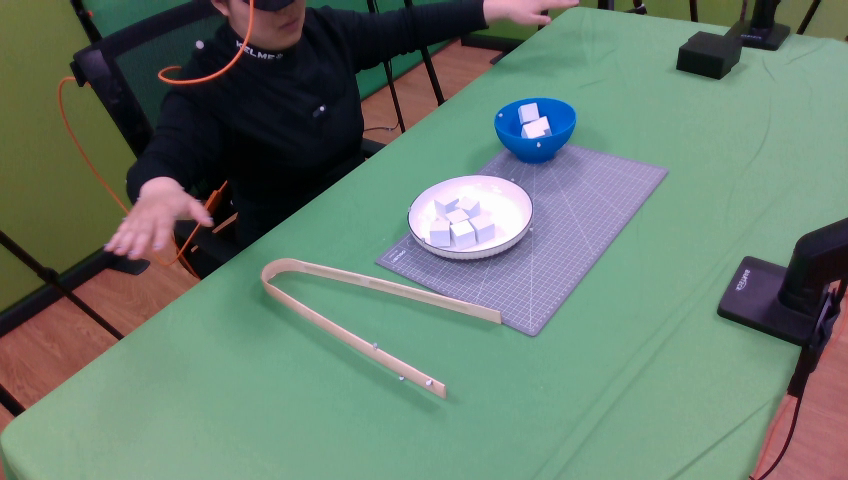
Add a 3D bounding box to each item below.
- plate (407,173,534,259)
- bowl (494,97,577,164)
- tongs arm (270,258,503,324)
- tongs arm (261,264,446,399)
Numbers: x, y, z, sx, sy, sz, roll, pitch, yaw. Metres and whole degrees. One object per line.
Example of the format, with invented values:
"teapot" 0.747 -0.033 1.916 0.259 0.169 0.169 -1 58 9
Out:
"plate" 0.076 -0.037 0.997 0.207 0.039 0.206 -5 40 5
"bowl" 0.207 -0.196 1.128 0.151 0.077 0.150 -5 40 5
"tongs arm" -0.066 0.074 0.904 0.385 0.028 0.028 11 47 23
"tongs arm" -0.110 0.118 0.854 0.381 0.026 0.051 21 48 33
